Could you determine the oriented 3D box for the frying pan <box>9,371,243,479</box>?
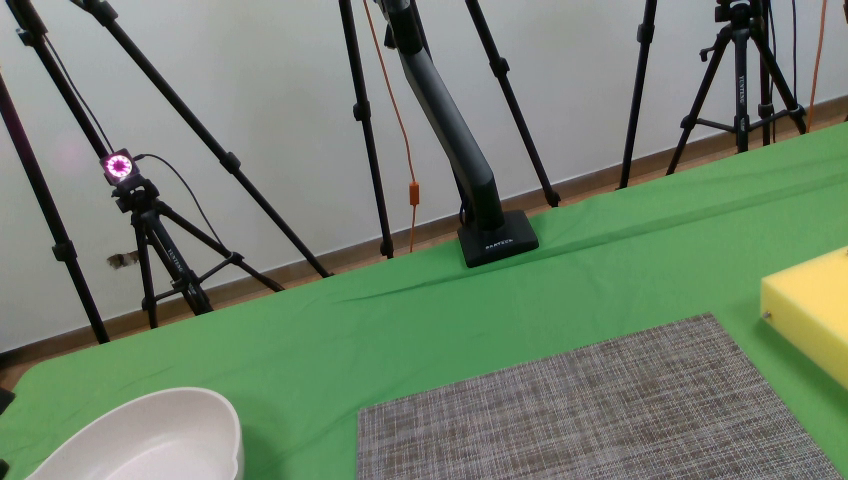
[{"bbox_3d":[-0.360,0.329,0.615,0.306,0.103,0.485,-9,25,16],"label":"frying pan"}]

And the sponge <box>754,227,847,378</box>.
[{"bbox_3d":[0.456,0.077,0.613,0.118,0.061,0.204,-20,32,-3],"label":"sponge"}]
